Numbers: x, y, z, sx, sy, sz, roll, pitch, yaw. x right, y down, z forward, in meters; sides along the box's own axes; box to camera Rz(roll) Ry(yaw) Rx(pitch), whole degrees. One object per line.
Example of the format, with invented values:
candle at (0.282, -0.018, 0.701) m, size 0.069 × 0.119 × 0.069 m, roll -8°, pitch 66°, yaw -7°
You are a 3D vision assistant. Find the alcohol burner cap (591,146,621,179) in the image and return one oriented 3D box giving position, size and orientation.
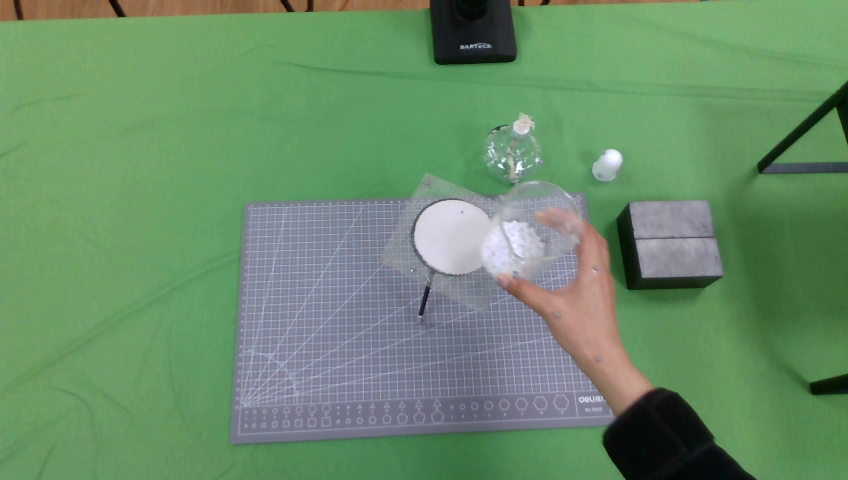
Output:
alcohol burner cap at (0.244, -0.105, 0.807) m, size 0.034 × 0.048 × 0.033 m, roll 0°, pitch 69°, yaw -1°

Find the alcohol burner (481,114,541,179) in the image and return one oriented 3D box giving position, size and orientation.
alcohol burner at (0.114, -0.126, 0.771) m, size 0.078 × 0.120 × 0.077 m, roll 1°, pitch 70°, yaw -3°

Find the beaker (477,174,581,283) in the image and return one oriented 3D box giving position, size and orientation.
beaker at (0.091, -0.003, 0.565) m, size 0.074 × 0.100 × 0.083 m, roll 29°, pitch 69°, yaw 3°

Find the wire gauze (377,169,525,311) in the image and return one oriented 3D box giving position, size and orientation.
wire gauze at (0.030, -0.005, 0.638) m, size 0.125 × 0.011 × 0.121 m, roll 25°, pitch 71°, yaw 6°

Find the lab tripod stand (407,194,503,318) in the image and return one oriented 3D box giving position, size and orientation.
lab tripod stand at (0.029, 0.012, 0.703) m, size 0.148 × 0.132 × 0.147 m, roll 1°, pitch 68°, yaw -3°
